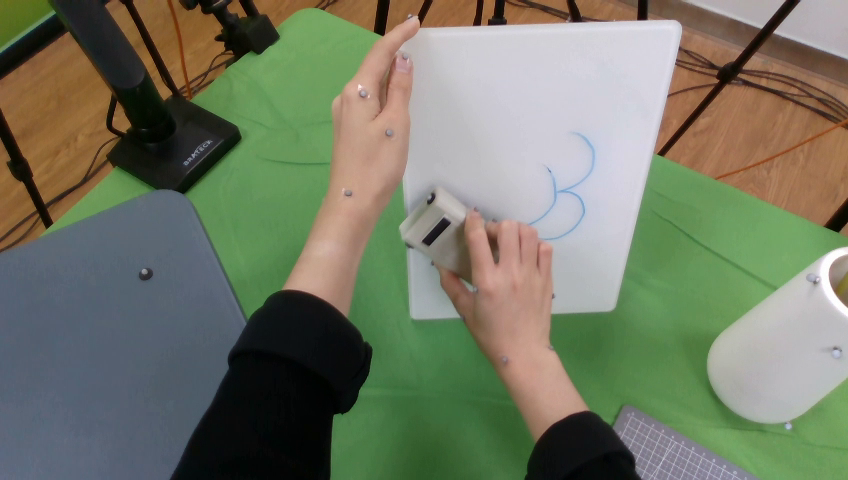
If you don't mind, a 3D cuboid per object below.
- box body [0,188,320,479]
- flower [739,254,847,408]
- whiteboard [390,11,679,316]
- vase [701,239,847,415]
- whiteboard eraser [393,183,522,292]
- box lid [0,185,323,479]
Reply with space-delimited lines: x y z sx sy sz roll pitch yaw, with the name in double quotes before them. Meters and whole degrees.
"box body" -0.235 0.172 0.480 0.254 0.162 0.360 -27 62 -15
"flower" 0.317 0.022 0.456 0.044 0.364 0.038 22 44 17
"whiteboard" 0.084 -0.087 0.592 0.217 0.308 0.142 -2 39 -1
"vase" 0.316 0.078 0.519 0.098 0.201 0.097 0 57 1
"whiteboard eraser" 0.031 -0.002 0.546 0.113 0.056 0.041 32 27 -25
"box lid" -0.236 0.132 0.417 0.263 0.015 0.368 -26 62 -16
